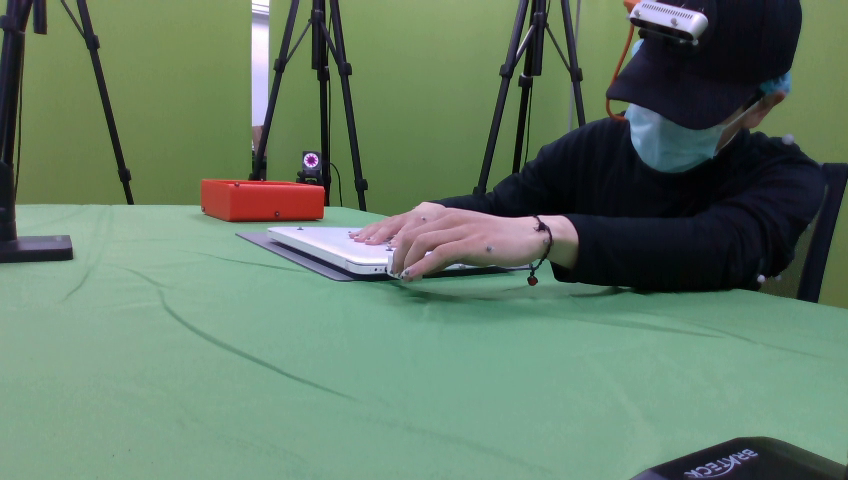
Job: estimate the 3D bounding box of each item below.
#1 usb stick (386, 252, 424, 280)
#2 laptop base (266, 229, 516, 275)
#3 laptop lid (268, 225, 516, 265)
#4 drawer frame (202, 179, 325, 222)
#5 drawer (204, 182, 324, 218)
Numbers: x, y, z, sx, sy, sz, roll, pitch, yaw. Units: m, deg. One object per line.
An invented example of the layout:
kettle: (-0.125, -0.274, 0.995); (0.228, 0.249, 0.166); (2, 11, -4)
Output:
usb stick: (-0.024, 0.028, 0.666); (0.021, 0.027, 0.059); (-3, 4, -32)
laptop base: (-0.066, 0.014, 0.877); (0.237, 0.023, 0.352); (2, 6, -32)
laptop lid: (-0.063, 0.003, 0.877); (0.243, 0.013, 0.355); (1, 7, -30)
drawer frame: (-0.361, -0.092, 1.356); (0.215, 0.082, 0.200); (-4, 10, -37)
drawer: (-0.360, -0.092, 1.358); (0.213, 0.073, 0.193); (-3, 10, -36)
